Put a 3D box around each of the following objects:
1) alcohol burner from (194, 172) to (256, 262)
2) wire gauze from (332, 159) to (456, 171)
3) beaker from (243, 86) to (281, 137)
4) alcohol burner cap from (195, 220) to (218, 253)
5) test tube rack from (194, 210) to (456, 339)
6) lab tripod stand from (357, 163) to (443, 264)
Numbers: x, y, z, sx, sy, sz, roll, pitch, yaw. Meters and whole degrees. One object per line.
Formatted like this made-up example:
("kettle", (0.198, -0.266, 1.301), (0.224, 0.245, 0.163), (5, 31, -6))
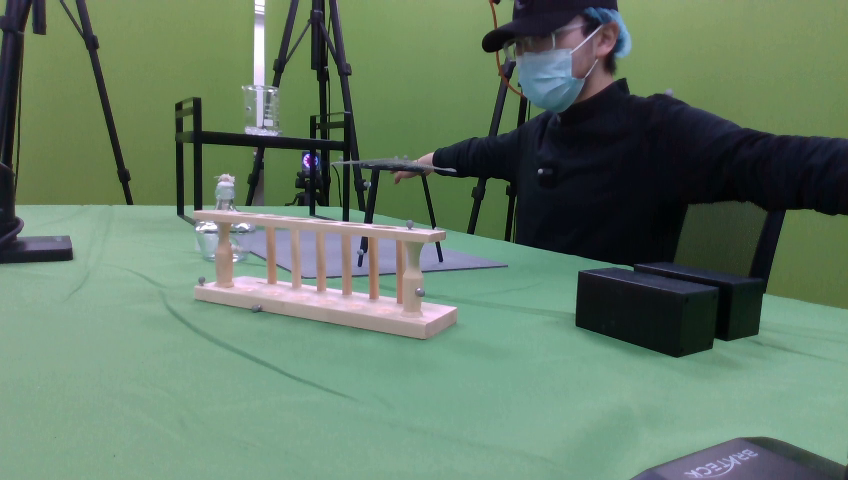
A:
("alcohol burner", (-0.264, -0.031, 0.801), (0.078, 0.119, 0.078), (0, 8, 0))
("wire gauze", (-0.042, -0.104, 0.819), (0.126, 0.011, 0.121), (-3, 9, -44))
("beaker", (-0.338, -0.265, 1.253), (0.073, 0.100, 0.084), (8, 10, 38))
("alcohol burner cap", (-0.316, -0.007, 0.882), (0.034, 0.048, 0.034), (4, 8, 0))
("test tube rack", (-0.093, 0.023, 0.545), (0.241, 0.085, 0.067), (6, 8, 25))
("lab tripod stand", (-0.044, -0.038, 0.830), (0.148, 0.131, 0.148), (3, 6, 0))
